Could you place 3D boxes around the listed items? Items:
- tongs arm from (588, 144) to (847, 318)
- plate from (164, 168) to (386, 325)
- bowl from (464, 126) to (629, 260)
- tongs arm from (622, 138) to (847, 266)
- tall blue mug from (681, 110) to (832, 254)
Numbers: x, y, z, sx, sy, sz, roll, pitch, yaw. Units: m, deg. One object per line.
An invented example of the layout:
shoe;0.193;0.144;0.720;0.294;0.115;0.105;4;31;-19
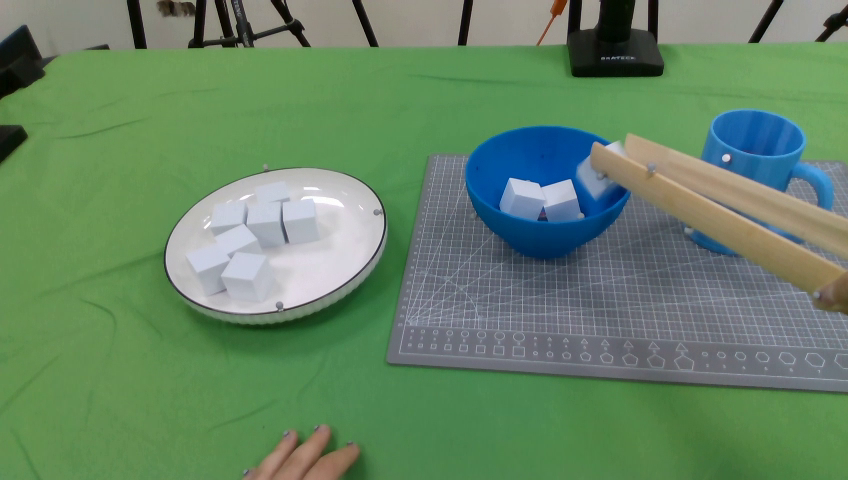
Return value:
tongs arm;0.233;0.010;0.370;0.051;0.027;0.380;-11;30;-19
plate;-0.139;0.005;0.584;0.209;0.038;0.207;-2;43;2
bowl;0.113;-0.035;0.571;0.151;0.077;0.150;-3;42;3
tongs arm;0.255;0.004;0.379;0.028;0.028;0.383;-10;30;-24
tall blue mug;0.299;-0.049;0.545;0.107;0.109;0.077;10;44;16
